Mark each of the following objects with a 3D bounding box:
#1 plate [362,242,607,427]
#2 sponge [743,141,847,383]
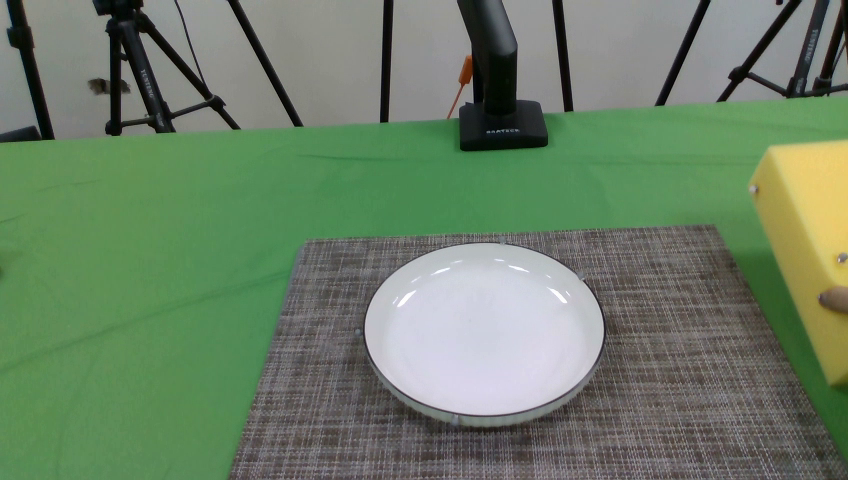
[{"bbox_3d":[0.051,0.079,0.531,0.207,0.039,0.205,-3,38,3],"label":"plate"},{"bbox_3d":[0.375,0.011,0.517,0.118,0.061,0.205,-6,55,2],"label":"sponge"}]
